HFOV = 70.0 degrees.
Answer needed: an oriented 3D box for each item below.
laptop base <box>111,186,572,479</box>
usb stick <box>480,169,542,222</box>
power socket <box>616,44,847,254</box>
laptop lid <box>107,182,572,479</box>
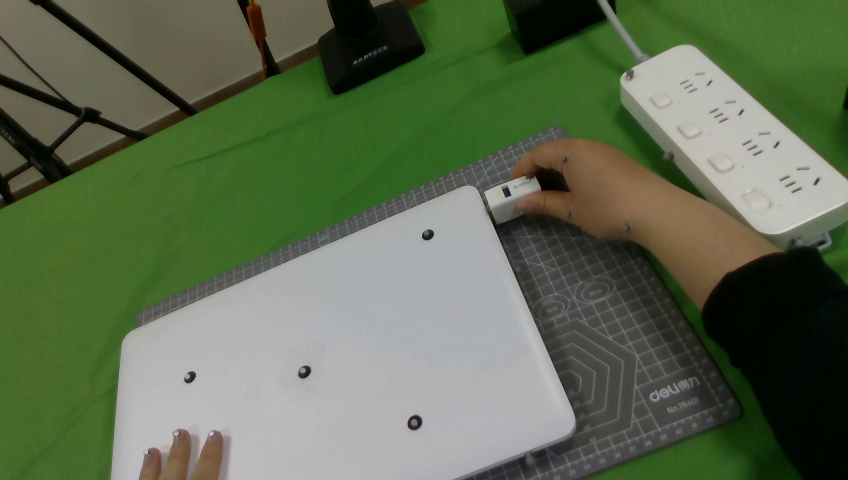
[{"bbox_3d":[-0.089,0.106,0.478,0.354,0.023,0.233,-23,52,6],"label":"laptop base"},{"bbox_3d":[0.065,-0.034,0.501,0.059,0.027,0.021,-25,43,10],"label":"usb stick"},{"bbox_3d":[0.228,-0.080,0.473,0.072,0.033,0.224,-25,49,3],"label":"power socket"},{"bbox_3d":[-0.092,0.101,0.468,0.356,0.013,0.239,-22,51,7],"label":"laptop lid"}]
